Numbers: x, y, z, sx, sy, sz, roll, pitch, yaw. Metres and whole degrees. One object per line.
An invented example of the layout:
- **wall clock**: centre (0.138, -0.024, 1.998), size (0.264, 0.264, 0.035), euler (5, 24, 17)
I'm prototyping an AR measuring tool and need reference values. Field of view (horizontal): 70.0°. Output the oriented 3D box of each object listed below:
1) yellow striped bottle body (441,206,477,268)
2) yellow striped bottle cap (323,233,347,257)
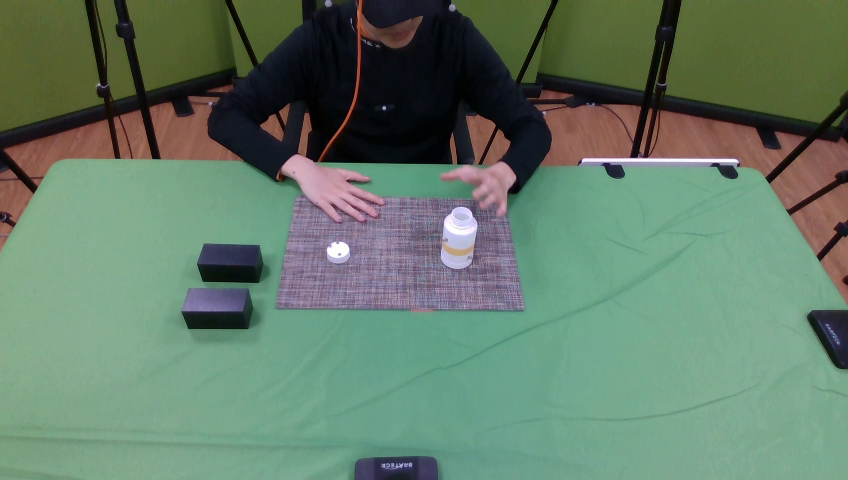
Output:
- **yellow striped bottle body**: centre (0.066, -0.009, 1.135), size (0.063, 0.121, 0.062), euler (2, 47, -2)
- **yellow striped bottle cap**: centre (-0.168, 0.010, 1.143), size (0.044, 0.019, 0.044), euler (3, 55, -4)
